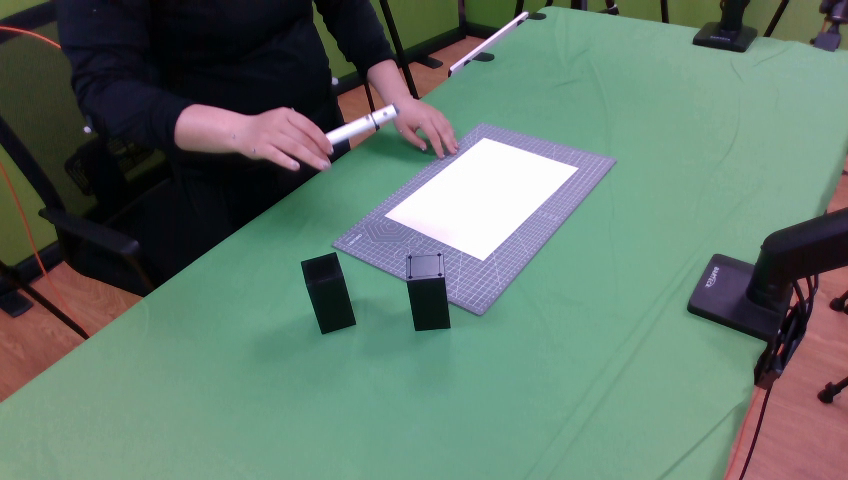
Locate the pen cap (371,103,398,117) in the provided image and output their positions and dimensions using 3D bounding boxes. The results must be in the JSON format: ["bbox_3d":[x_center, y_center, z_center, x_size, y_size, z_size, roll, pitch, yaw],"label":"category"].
[{"bbox_3d":[-0.055,-0.177,0.843,0.038,0.017,0.017,-25,42,-2],"label":"pen cap"}]

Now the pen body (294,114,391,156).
[{"bbox_3d":[-0.112,-0.148,0.842,0.144,0.017,0.017,-20,39,7],"label":"pen body"}]
